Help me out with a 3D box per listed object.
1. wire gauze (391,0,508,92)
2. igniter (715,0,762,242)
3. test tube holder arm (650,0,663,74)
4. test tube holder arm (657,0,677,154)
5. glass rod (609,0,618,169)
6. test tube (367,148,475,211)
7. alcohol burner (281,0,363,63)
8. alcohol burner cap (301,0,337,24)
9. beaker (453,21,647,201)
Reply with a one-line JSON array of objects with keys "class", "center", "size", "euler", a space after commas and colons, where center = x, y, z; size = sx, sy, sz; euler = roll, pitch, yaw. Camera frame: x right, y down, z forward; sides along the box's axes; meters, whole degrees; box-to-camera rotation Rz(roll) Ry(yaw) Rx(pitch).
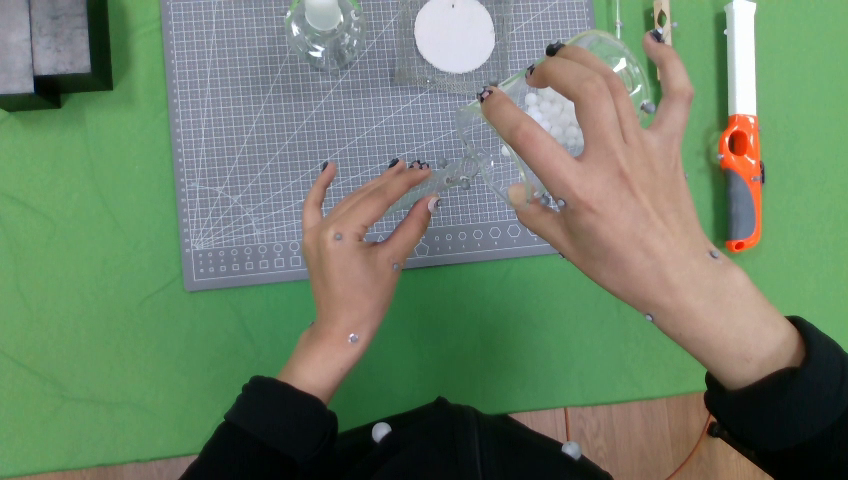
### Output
[{"class": "wire gauze", "center": [0.029, -0.224, 0.638], "size": [0.125, 0.011, 0.121], "euler": [5, 88, -7]}, {"class": "igniter", "center": [0.343, -0.135, 0.662], "size": [0.057, 0.025, 0.276], "euler": [2, 87, -17]}, {"class": "test tube holder arm", "center": [0.255, -0.227, 0.662], "size": [0.010, 0.015, 0.087], "euler": [-5, 88, 29]}, {"class": "test tube holder arm", "center": [0.263, -0.182, 0.658], "size": [0.013, 0.015, 0.178], "euler": [-6, 87, 29]}, {"class": "glass rod", "center": [0.206, -0.177, 0.657], "size": [0.008, 0.008, 0.199], "euler": [-1, 89, -7]}, {"class": "test tube", "center": [-0.008, -0.044, 0.470], "size": [0.017, 0.150, 0.017], "euler": [6, 78, -30]}, {"class": "alcohol burner", "center": [-0.097, -0.213, 0.570], "size": [0.078, 0.119, 0.078], "euler": [0, 87, -4]}, {"class": "alcohol burner cap", "center": [-0.094, -0.217, 0.534], "size": [0.034, 0.048, 0.033], "euler": [1, 81, -6]}, {"class": "beaker", "center": [0.079, -0.082, 0.378], "size": [0.100, 0.083, 0.074], "euler": [-34, 97, -8]}]
